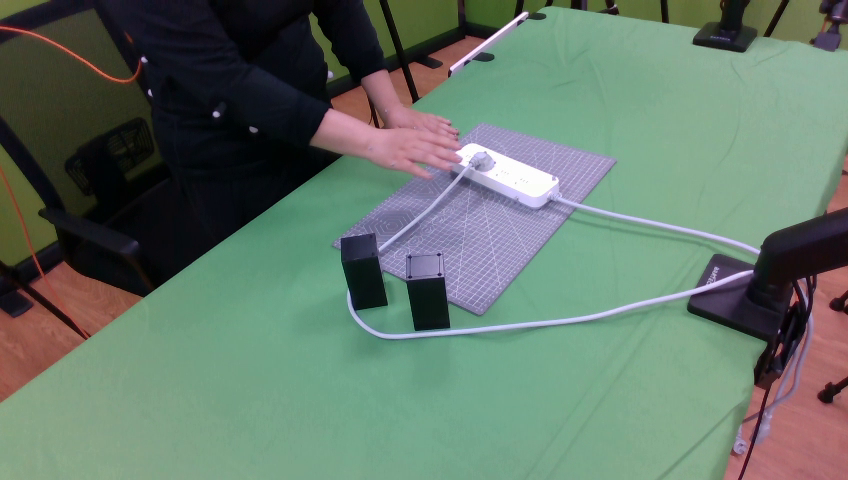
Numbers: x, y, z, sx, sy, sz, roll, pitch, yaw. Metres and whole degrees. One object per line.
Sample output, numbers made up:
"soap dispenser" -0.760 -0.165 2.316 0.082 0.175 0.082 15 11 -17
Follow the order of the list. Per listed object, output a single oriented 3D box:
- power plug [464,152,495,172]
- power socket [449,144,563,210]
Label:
"power plug" 0.092 -0.127 1.065 0.073 0.053 0.035 -29 44 -20
"power socket" 0.139 -0.115 1.072 0.225 0.033 0.072 30 53 35
